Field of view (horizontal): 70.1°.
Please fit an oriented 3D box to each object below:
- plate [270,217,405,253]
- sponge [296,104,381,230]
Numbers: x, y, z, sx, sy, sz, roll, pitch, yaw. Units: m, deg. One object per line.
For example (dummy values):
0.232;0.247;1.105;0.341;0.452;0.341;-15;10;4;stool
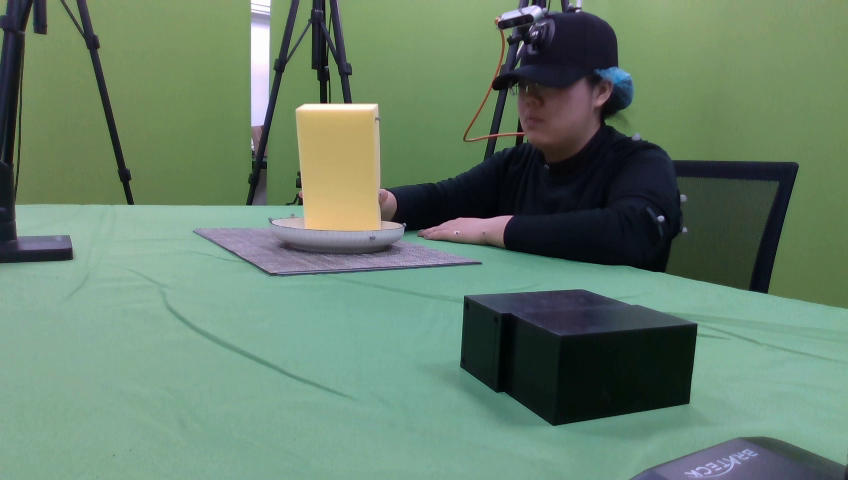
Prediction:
-0.134;-0.009;0.946;0.208;0.039;0.207;3;7;0;plate
-0.131;-0.108;0.958;0.118;0.207;0.061;1;21;2;sponge
